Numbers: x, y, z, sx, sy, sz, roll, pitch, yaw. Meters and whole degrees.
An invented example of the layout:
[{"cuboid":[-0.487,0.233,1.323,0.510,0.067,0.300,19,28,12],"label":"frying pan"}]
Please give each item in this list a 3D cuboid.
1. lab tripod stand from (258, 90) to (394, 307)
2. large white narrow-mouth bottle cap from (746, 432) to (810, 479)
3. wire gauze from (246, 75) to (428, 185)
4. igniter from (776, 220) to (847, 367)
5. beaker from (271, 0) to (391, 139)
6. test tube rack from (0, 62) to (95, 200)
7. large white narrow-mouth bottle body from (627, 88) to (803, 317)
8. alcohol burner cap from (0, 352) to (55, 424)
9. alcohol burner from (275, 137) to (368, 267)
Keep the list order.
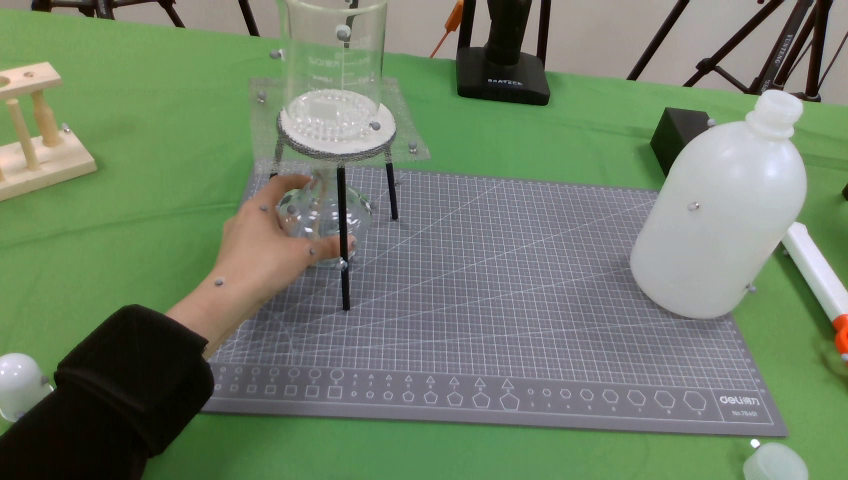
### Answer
[{"cuboid":[-0.073,-0.041,0.498,0.148,0.132,0.147,6,43,-6],"label":"lab tripod stand"},{"cuboid":[0.250,0.158,0.429,0.038,0.024,0.037,5,43,-4],"label":"large white narrow-mouth bottle cap"},{"cuboid":[-0.069,-0.090,0.455,0.122,0.011,0.123,-7,49,-14],"label":"wire gauze"},{"cuboid":[0.375,0.077,0.533,0.057,0.025,0.273,13,42,-11],"label":"igniter"},{"cuboid":[-0.068,-0.128,0.423,0.084,0.101,0.073,0,45,-10],"label":"beaker"},{"cuboid":[-0.423,-0.069,0.505,0.242,0.086,0.066,-27,54,-33],"label":"test tube rack"},{"cuboid":[0.245,-0.032,0.499,0.102,0.196,0.101,4,43,-4],"label":"large white narrow-mouth bottle body"},{"cuboid":[-0.263,0.093,0.391,0.034,0.048,0.033,6,43,-6],"label":"alcohol burner cap"},{"cuboid":[-0.084,-0.035,0.504,0.078,0.120,0.077,7,42,-6],"label":"alcohol burner"}]
